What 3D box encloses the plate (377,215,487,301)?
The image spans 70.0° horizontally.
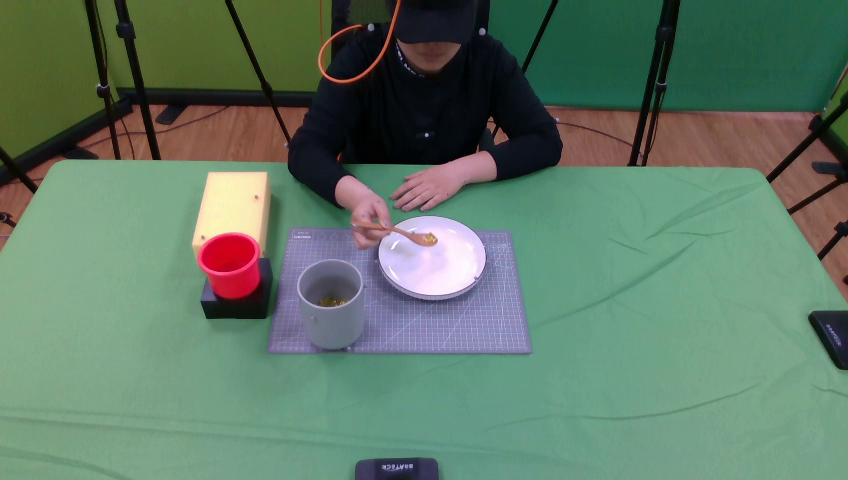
[{"bbox_3d":[0.015,0.037,1.147,0.208,0.039,0.206,2,46,-2],"label":"plate"}]

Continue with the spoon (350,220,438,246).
[{"bbox_3d":[-0.051,-0.016,1.094,0.195,0.021,0.041,15,29,-40],"label":"spoon"}]

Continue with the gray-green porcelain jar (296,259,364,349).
[{"bbox_3d":[-0.152,0.111,1.003,0.106,0.127,0.105,2,46,-2],"label":"gray-green porcelain jar"}]

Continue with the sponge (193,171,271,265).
[{"bbox_3d":[-0.371,-0.047,1.189,0.118,0.061,0.205,-2,47,-6],"label":"sponge"}]
